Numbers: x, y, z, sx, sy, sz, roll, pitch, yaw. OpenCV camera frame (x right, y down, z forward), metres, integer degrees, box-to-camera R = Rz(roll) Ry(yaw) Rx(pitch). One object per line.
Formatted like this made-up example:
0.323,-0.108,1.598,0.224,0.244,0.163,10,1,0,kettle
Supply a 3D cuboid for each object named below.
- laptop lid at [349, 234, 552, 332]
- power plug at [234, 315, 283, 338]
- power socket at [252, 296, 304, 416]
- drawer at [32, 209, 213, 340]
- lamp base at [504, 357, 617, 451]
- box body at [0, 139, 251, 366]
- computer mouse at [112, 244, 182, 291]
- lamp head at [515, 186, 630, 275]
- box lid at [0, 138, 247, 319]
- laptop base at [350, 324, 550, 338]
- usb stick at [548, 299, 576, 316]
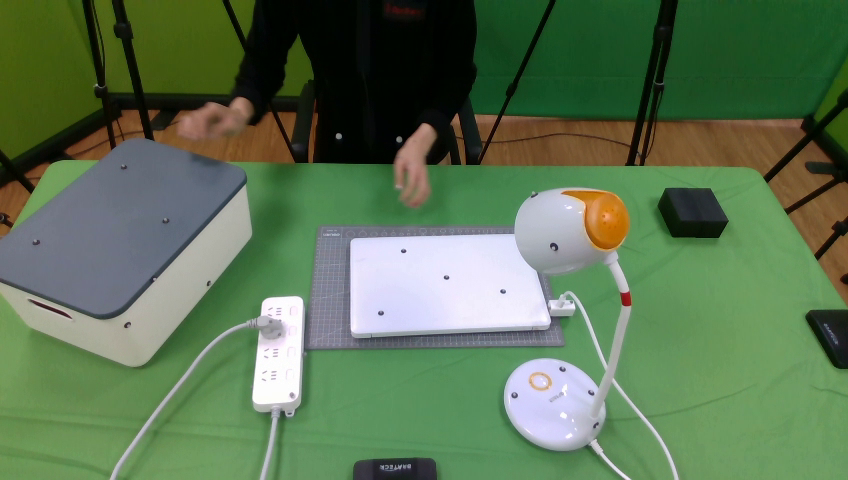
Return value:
0.040,0.071,1.117,0.357,0.013,0.240,0,44,-5,laptop lid
-0.269,0.143,1.000,0.072,0.053,0.035,4,47,2,power plug
-0.238,0.182,0.997,0.072,0.033,0.225,-3,47,-5,power socket
-0.509,0.054,1.045,0.194,0.073,0.211,15,43,10,drawer
0.220,0.211,0.903,0.160,0.181,0.178,-32,59,-30,lamp base
-0.496,0.013,1.048,0.254,0.161,0.362,17,47,12,box body
-0.493,0.046,1.078,0.117,0.041,0.062,24,42,13,computer mouse
0.188,-0.013,0.728,0.112,0.112,0.122,-25,9,-25,lamp head
-0.494,-0.038,0.993,0.263,0.015,0.370,17,46,12,box lid
0.039,0.081,1.124,0.355,0.023,0.234,-2,43,-6,laptop base
0.239,0.121,1.083,0.059,0.027,0.021,-1,50,-2,usb stick
